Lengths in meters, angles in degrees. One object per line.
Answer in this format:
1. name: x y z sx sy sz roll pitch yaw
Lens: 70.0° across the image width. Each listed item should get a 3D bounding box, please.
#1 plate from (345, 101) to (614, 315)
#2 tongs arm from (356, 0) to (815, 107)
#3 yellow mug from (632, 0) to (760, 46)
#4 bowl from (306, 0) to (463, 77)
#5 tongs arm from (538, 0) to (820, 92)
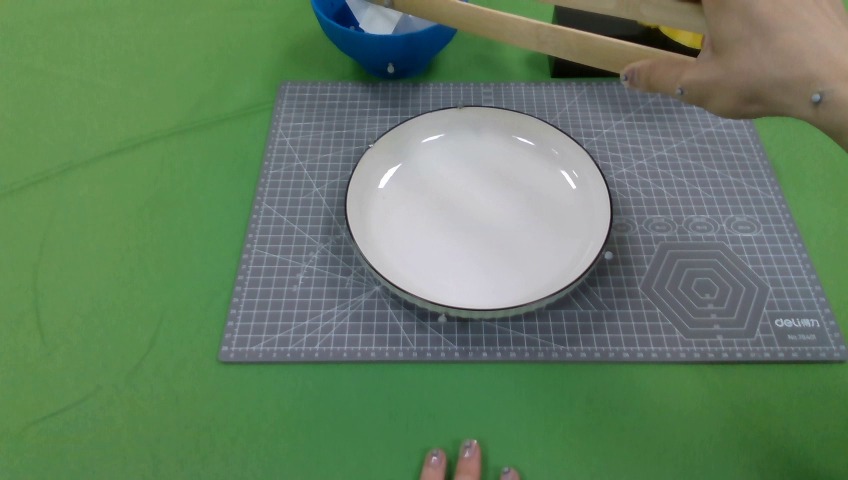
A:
1. plate: 0.043 -0.027 0.486 0.208 0.039 0.205 0 55 1
2. tongs arm: 0.071 -0.158 0.447 0.384 0.028 0.028 27 62 31
3. yellow mug: 0.245 -0.230 0.550 0.131 0.064 0.099 -14 55 -7
4. bowl: -0.036 -0.216 0.596 0.151 0.077 0.150 0 55 1
5. tongs arm: 0.088 -0.178 0.456 0.381 0.027 0.050 23 64 30
